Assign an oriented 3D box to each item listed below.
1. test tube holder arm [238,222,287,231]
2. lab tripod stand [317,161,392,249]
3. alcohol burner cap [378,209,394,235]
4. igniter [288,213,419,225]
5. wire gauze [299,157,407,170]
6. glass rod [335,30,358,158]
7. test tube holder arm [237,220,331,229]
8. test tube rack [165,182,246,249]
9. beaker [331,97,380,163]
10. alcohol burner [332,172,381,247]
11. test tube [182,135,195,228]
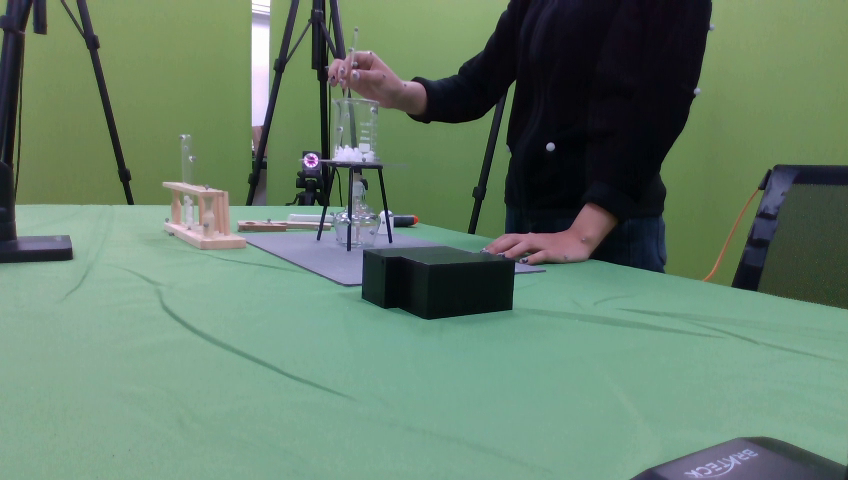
[{"bbox_3d":[-0.296,-0.024,1.112,0.088,0.015,0.010,-1,41,-32],"label":"test tube holder arm"},{"bbox_3d":[-0.111,-0.059,0.964,0.148,0.131,0.148,4,8,0],"label":"lab tripod stand"},{"bbox_3d":[-0.072,-0.035,1.145,0.034,0.048,0.034,2,7,0],"label":"alcohol burner cap"},{"bbox_3d":[-0.145,-0.044,1.278,0.278,0.025,0.057,-1,-2,-21],"label":"igniter"},{"bbox_3d":[-0.112,-0.124,0.959,0.121,0.011,0.126,13,12,40],"label":"wire gauze"},{"bbox_3d":[-0.123,-0.228,0.951,0.008,0.199,0.008,10,6,-1],"label":"glass rod"},{"bbox_3d":[-0.260,-0.028,1.140,0.179,0.015,0.013,-1,41,-32],"label":"test tube holder arm"},{"bbox_3d":[-0.360,-0.044,0.982,0.067,0.085,0.241,-3,9,-34],"label":"test tube rack"},{"bbox_3d":[-0.111,-0.171,0.950,0.073,0.100,0.084,12,12,42],"label":"beaker"},{"bbox_3d":[-0.107,-0.048,0.961,0.078,0.119,0.078,1,9,0],"label":"alcohol burner"},{"bbox_3d":[-0.382,-0.095,0.983,0.017,0.150,0.017,-1,2,0],"label":"test tube"}]
